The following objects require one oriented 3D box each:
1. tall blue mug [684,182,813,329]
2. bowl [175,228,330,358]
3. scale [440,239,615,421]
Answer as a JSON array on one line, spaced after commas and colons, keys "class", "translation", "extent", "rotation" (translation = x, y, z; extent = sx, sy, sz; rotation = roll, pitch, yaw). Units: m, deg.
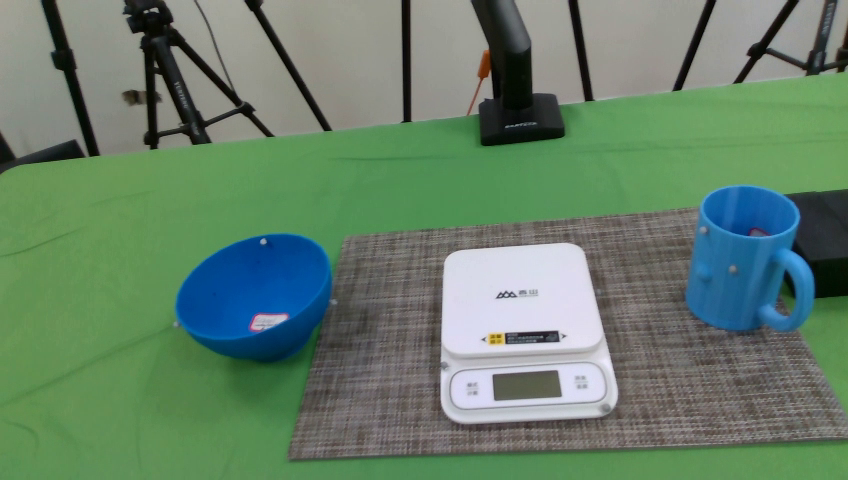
[{"class": "tall blue mug", "translation": [0.290, 0.019, 0.532], "extent": [0.106, 0.109, 0.077], "rotation": [25, 50, 36]}, {"class": "bowl", "translation": [-0.160, 0.065, 0.610], "extent": [0.151, 0.077, 0.150], "rotation": [-6, 39, 5]}, {"class": "scale", "translation": [0.090, 0.076, 0.571], "extent": [0.148, 0.032, 0.199], "rotation": [-5, 40, 7]}]
